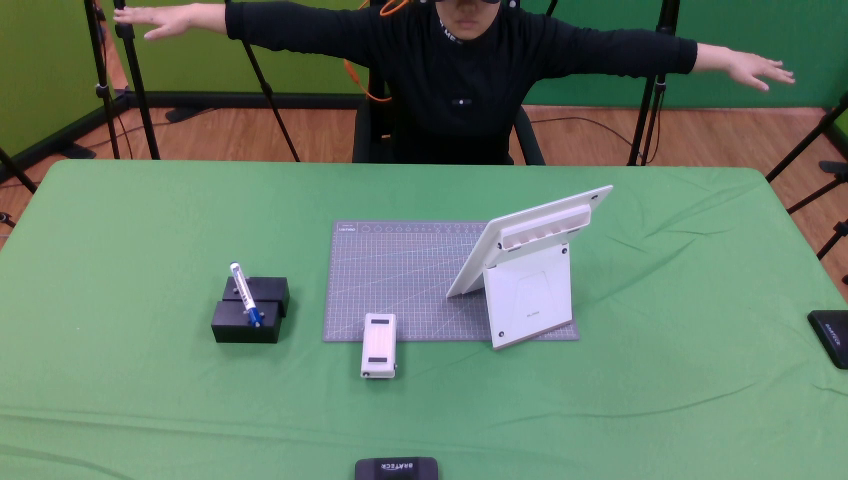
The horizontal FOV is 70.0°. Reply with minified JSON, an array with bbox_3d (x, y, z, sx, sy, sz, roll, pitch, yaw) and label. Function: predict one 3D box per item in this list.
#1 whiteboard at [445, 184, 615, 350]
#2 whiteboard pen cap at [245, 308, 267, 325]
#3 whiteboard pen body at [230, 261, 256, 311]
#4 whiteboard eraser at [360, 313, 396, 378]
[{"bbox_3d":[0.186,0.065,0.989,0.217,0.306,0.143,-15,68,-18],"label":"whiteboard"},{"bbox_3d":[-0.273,0.126,0.987,0.033,0.018,0.018,30,49,0],"label":"whiteboard pen cap"},{"bbox_3d":[-0.304,0.086,1.025,0.017,0.017,0.140,-18,50,-20],"label":"whiteboard pen body"},{"bbox_3d":[-0.075,0.176,1.006,0.055,0.042,0.112,3,50,-4],"label":"whiteboard eraser"}]
